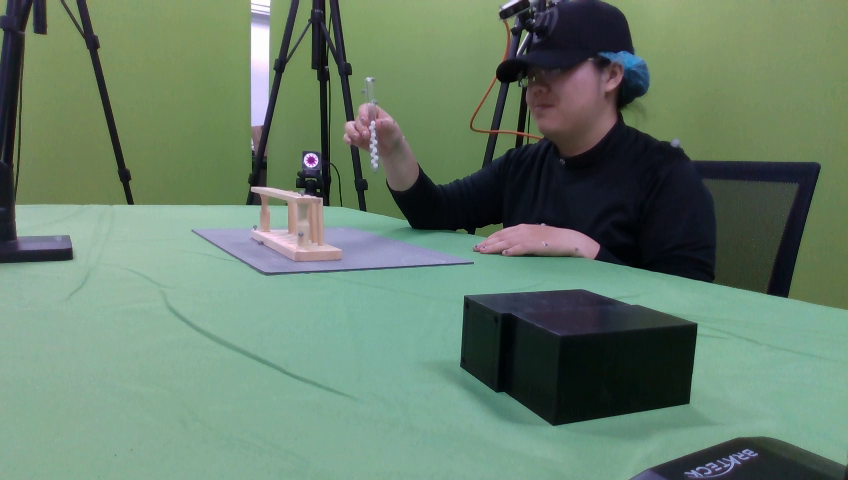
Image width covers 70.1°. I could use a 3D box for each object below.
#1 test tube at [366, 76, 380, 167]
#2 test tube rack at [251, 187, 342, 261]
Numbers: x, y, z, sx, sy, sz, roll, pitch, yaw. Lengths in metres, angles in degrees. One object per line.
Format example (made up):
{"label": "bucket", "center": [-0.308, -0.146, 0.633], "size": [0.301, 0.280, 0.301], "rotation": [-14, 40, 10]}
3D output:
{"label": "test tube", "center": [-0.085, -0.196, 1.003], "size": [0.017, 0.150, 0.017], "rotation": [-3, 4, 1]}
{"label": "test tube rack", "center": [-0.196, -0.030, 0.902], "size": [0.067, 0.085, 0.241], "rotation": [-1, 8, -29]}
